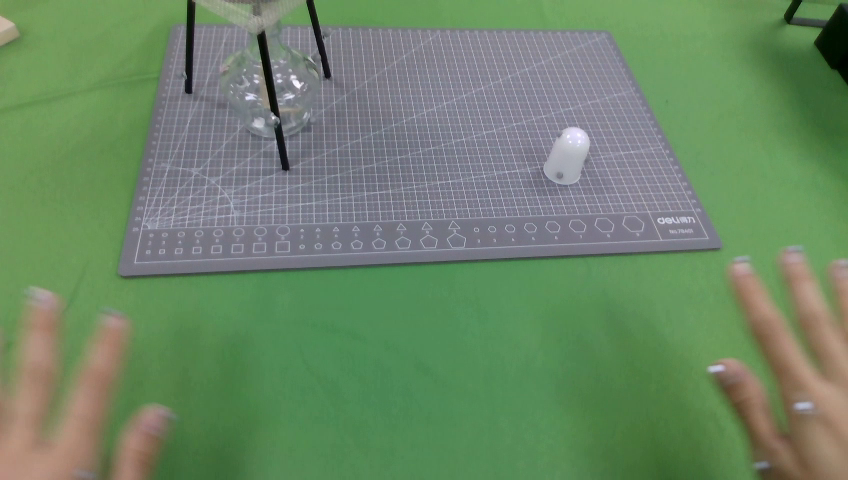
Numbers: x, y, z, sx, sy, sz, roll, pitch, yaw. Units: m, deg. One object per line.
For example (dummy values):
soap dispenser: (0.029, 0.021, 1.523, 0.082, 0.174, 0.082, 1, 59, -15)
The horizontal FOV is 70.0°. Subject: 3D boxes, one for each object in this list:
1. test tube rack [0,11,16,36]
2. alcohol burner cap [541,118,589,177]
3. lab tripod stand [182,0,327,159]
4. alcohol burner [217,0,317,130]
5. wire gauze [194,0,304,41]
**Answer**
test tube rack: (-0.458, -0.156, 0.459, 0.066, 0.086, 0.241, 29, 55, 14)
alcohol burner cap: (0.118, -0.078, 0.499, 0.034, 0.048, 0.033, 4, 52, -4)
lab tripod stand: (-0.128, -0.158, 0.469, 0.148, 0.132, 0.147, 5, 53, -6)
alcohol burner: (-0.123, -0.146, 0.474, 0.078, 0.120, 0.077, 5, 51, -5)
wire gauze: (-0.124, -0.197, 0.418, 0.124, 0.011, 0.121, 32, 58, 11)
